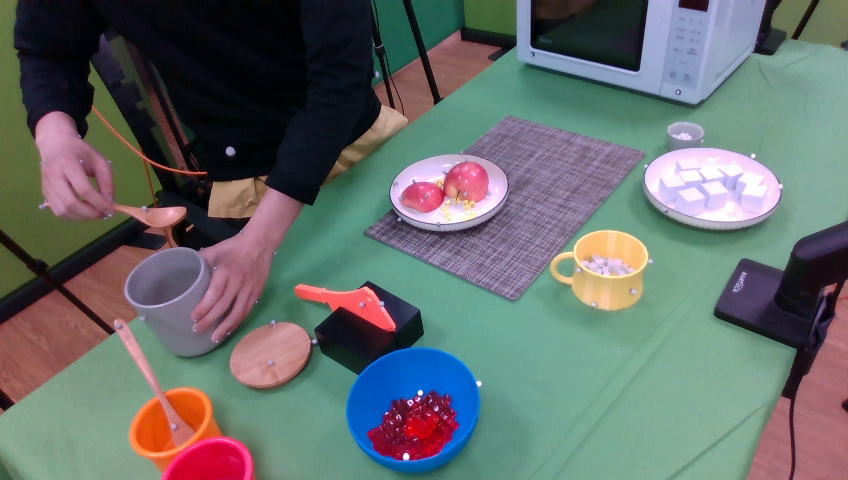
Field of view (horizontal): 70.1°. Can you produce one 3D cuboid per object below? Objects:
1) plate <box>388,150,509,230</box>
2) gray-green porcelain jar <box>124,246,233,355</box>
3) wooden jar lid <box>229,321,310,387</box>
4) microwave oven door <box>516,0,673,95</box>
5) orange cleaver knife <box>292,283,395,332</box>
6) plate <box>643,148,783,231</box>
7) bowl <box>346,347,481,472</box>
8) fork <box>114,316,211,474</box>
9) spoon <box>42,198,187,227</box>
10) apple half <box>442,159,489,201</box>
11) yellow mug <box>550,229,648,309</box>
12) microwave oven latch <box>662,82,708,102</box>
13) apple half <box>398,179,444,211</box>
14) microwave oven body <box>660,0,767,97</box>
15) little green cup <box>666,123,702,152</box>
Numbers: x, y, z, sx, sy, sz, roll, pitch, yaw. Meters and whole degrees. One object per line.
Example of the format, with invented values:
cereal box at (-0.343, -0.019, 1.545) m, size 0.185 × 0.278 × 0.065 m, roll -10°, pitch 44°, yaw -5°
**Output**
plate at (0.044, -0.083, 1.042) m, size 0.209 × 0.038 × 0.208 m, roll -4°, pitch 40°, yaw 4°
gray-green porcelain jar at (-0.330, 0.088, 0.831) m, size 0.106 × 0.127 × 0.105 m, roll -5°, pitch 46°, yaw 6°
wooden jar lid at (-0.207, 0.156, 0.820) m, size 0.108 × 0.021 × 0.108 m, roll -3°, pitch 39°, yaw 3°
microwave oven door at (0.344, -0.458, 1.256) m, size 0.353 × 0.245 × 0.039 m, roll 26°, pitch 51°, yaw 33°
orange cleaver knife at (-0.115, 0.092, 0.835) m, size 0.209 × 0.077 × 0.012 m, roll 1°, pitch 32°, yaw 48°
plate at (0.464, -0.079, 0.986) m, size 0.207 × 0.039 × 0.206 m, roll -4°, pitch 40°, yaw 4°
bowl at (-0.008, 0.205, 0.691) m, size 0.151 × 0.077 × 0.150 m, roll -4°, pitch 40°, yaw 4°
fork at (-0.309, 0.179, 0.708) m, size 0.028 × 0.018 × 0.207 m, roll -30°, pitch 89°, yaw -24°
spoon at (-0.397, -0.041, 0.773) m, size 0.194 × 0.022 × 0.041 m, roll 9°, pitch 42°, yaw 4°
apple half at (0.074, -0.110, 1.047) m, size 0.080 × 0.053 × 0.075 m, roll 21°, pitch 45°, yaw 30°
yellow mug at (0.245, 0.040, 0.857) m, size 0.130 × 0.064 × 0.099 m, roll 1°, pitch 42°, yaw 11°
microwave oven latch at (0.517, -0.298, 1.203) m, size 0.078 × 0.029 × 0.030 m, roll 26°, pitch 52°, yaw 34°
apple half at (-0.004, -0.088, 1.045) m, size 0.081 × 0.033 × 0.081 m, roll -1°, pitch 43°, yaw 2°
microwave oven body at (0.473, -0.517, 1.313) m, size 0.438 × 0.261 × 0.327 m, roll 26°, pitch 51°, yaw 34°
little green cup at (0.472, -0.183, 1.102) m, size 0.061 × 0.039 × 0.061 m, roll -5°, pitch 41°, yaw 5°
